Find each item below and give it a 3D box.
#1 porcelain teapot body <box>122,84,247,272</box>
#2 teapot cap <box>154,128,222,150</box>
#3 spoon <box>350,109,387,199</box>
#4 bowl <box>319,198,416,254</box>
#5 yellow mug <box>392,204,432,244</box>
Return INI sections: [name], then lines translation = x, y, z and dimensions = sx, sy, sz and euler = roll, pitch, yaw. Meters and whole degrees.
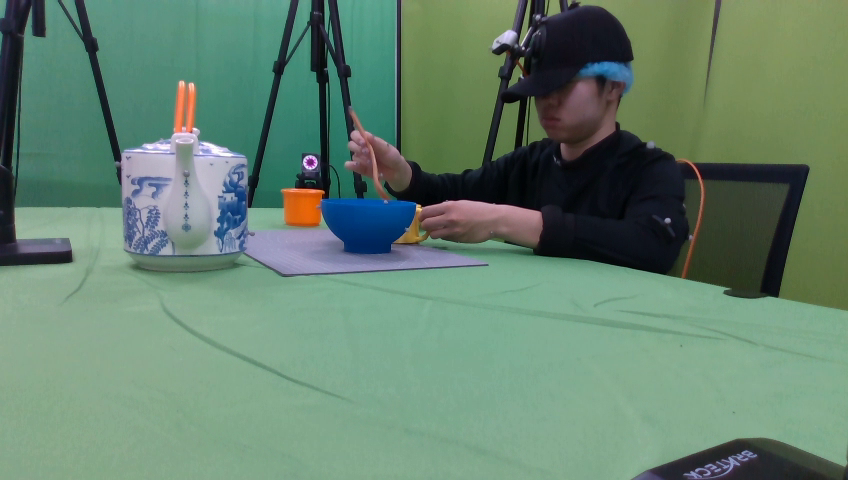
[porcelain teapot body]
translation = -0.286, -0.075, 0.733
dimensions = 0.146, 0.225, 0.204
euler = 0, 8, -24
[teapot cap]
translation = -0.294, -0.117, 0.754
dimensions = 0.085, 0.044, 0.085
euler = 4, 10, 0
[spoon]
translation = -0.096, -0.149, 1.079
dimensions = 0.021, 0.193, 0.042
euler = -19, -13, 4
[bowl]
translation = -0.089, -0.022, 0.941
dimensions = 0.151, 0.077, 0.151
euler = 2, 7, 0
[yellow mug]
translation = -0.043, -0.031, 1.069
dimensions = 0.130, 0.064, 0.100
euler = 7, 9, 28
